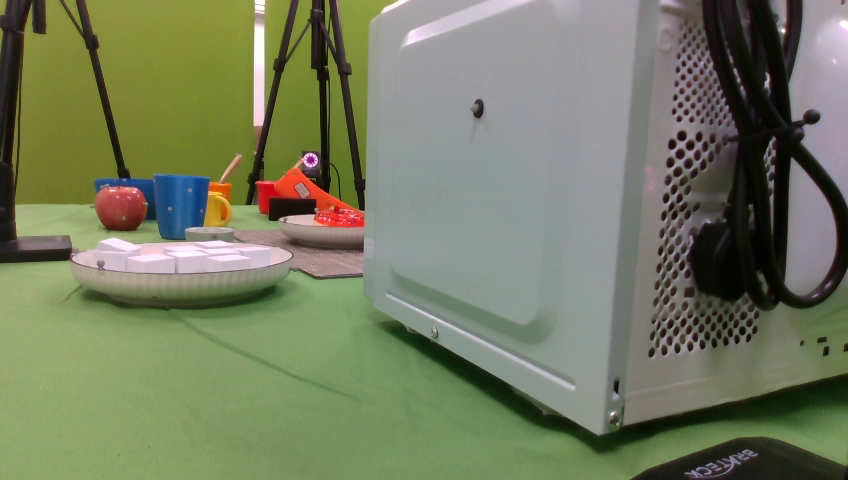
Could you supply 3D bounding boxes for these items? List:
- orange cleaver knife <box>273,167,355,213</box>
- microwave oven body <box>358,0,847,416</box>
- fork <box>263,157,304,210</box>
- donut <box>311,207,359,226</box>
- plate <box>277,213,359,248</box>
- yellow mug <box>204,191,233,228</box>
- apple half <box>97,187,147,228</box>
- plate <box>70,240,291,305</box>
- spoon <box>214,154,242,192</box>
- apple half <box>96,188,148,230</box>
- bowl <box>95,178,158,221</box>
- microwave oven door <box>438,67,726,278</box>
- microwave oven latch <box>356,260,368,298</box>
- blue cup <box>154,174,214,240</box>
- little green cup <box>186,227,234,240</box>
[{"bbox_3d":[-0.238,-0.091,1.381,0.212,0.077,0.012,31,0,-19],"label":"orange cleaver knife"},{"bbox_3d":[0.211,-0.047,0.475,0.444,0.260,0.324,-1,7,-28],"label":"microwave oven body"},{"bbox_3d":[-0.345,-0.143,1.506,0.028,0.019,0.207,-4,46,29],"label":"fork"},{"bbox_3d":[-0.137,-0.029,0.995,0.099,0.048,0.099,4,9,0],"label":"donut"},{"bbox_3d":[-0.135,-0.017,0.992,0.209,0.038,0.209,2,8,0],"label":"plate"},{"bbox_3d":[-0.415,-0.057,1.131,0.130,0.064,0.100,6,7,16],"label":"yellow mug"},{"bbox_3d":[-0.534,-0.059,1.071,0.082,0.081,0.032,-1,11,-25],"label":"apple half"},{"bbox_3d":[-0.242,0.031,0.618,0.208,0.039,0.207,2,8,0],"label":"plate"},{"bbox_3d":[-0.439,-0.124,1.318,0.041,0.193,0.022,5,-36,16],"label":"spoon"},{"bbox_3d":[-0.517,-0.052,1.036,0.081,0.074,0.053,2,10,-26],"label":"apple half"},{"bbox_3d":[-0.576,-0.081,1.217,0.151,0.077,0.151,3,8,0],"label":"bowl"},{"bbox_3d":[0.185,-0.093,0.784,0.354,0.243,0.039,6,9,29],"label":"microwave oven door"},{"bbox_3d":[-0.020,0.033,0.530,0.079,0.029,0.030,0,7,-26],"label":"microwave oven latch"},{"bbox_3d":[-0.391,-0.053,0.978,0.093,0.100,0.092,4,6,0],"label":"blue cup"},{"bbox_3d":[-0.285,0.005,0.805,0.061,0.038,0.061,2,8,0],"label":"little green cup"}]
